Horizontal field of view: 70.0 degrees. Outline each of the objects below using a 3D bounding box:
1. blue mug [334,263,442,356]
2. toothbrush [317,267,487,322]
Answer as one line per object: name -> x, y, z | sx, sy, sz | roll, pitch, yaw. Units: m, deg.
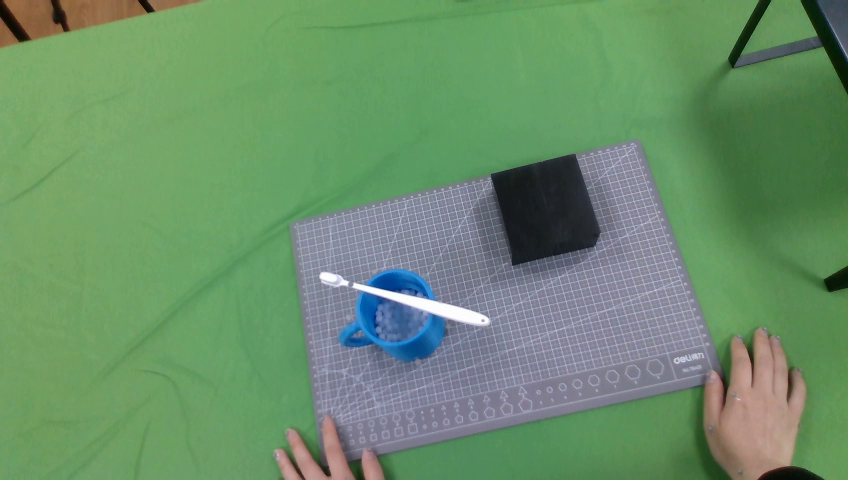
blue mug -> -0.041, 0.085, 0.662 | 0.116, 0.106, 0.082 | -22, 71, 0
toothbrush -> -0.024, 0.054, 0.608 | 0.181, 0.017, 0.014 | 15, 70, 11
